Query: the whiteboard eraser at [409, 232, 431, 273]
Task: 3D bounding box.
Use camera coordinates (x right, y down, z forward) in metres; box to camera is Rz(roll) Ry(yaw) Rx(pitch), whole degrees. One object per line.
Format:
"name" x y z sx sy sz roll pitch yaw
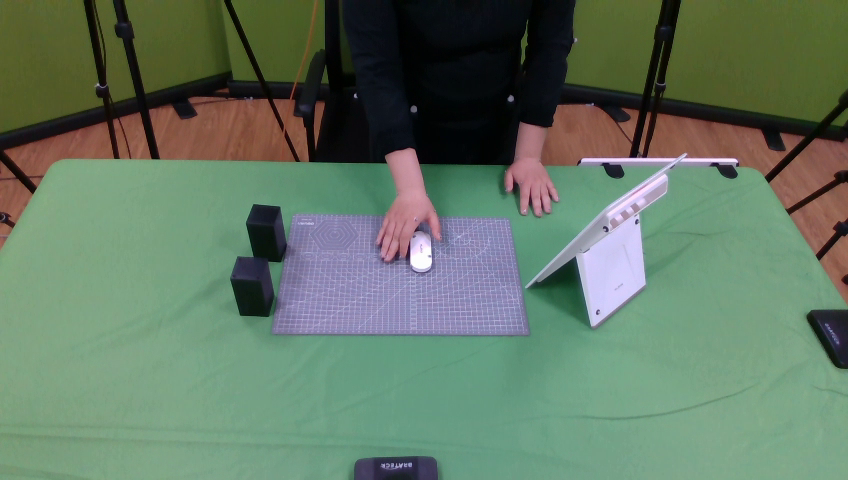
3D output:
"whiteboard eraser" -0.008 0.023 1.173 0.041 0.019 0.100 1 45 -2

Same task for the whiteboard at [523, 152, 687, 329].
"whiteboard" 0.346 0.025 1.046 0.217 0.306 0.143 -30 74 -29
